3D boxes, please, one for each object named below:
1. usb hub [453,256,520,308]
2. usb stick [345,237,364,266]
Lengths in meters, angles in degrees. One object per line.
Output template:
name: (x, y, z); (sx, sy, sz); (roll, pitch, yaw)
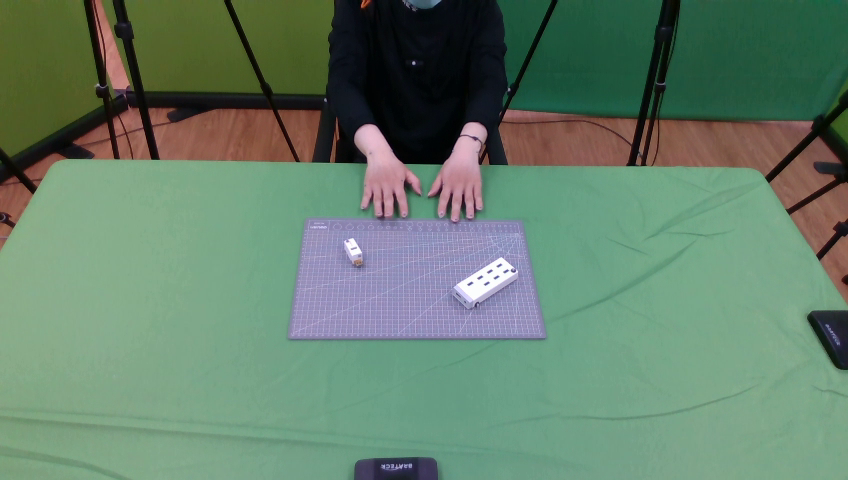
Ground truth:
usb hub: (0.117, 0.077, 1.121); (0.125, 0.025, 0.049); (-29, 55, -27)
usb stick: (-0.131, 0.024, 1.155); (0.021, 0.027, 0.059); (-16, 52, -20)
